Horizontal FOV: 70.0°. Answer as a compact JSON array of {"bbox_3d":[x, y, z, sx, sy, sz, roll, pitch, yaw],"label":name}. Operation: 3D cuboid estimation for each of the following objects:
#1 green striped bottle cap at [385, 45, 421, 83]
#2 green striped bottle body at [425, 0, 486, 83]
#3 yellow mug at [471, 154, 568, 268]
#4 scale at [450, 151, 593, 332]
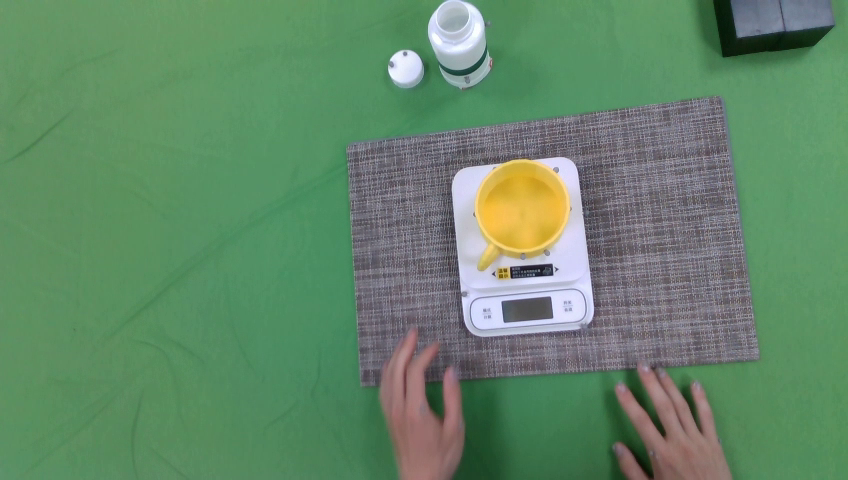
[{"bbox_3d":[-0.027,-0.221,0.761,0.044,0.020,0.044,0,89,8],"label":"green striped bottle cap"},{"bbox_3d":[0.037,-0.233,0.698,0.063,0.120,0.063,-1,82,9],"label":"green striped bottle body"},{"bbox_3d":[0.095,-0.024,0.657,0.099,0.064,0.131,35,90,11],"label":"yellow mug"},{"bbox_3d":[0.110,0.002,0.700,0.148,0.032,0.200,-6,83,9],"label":"scale"}]
